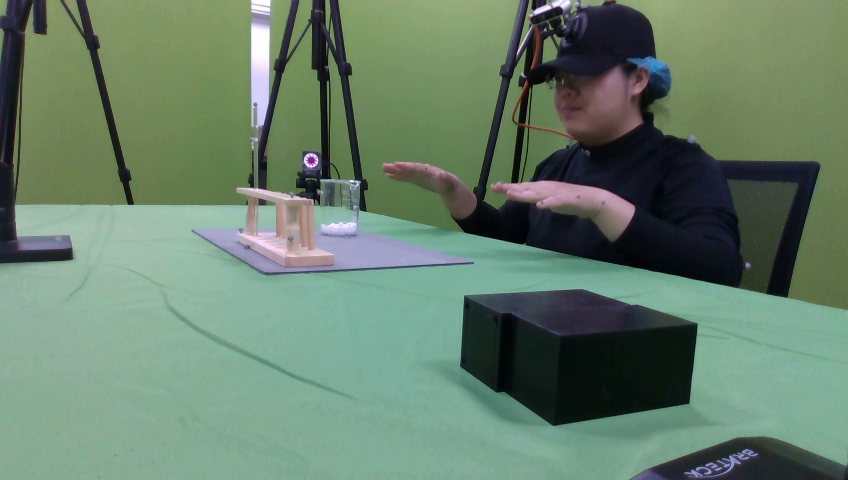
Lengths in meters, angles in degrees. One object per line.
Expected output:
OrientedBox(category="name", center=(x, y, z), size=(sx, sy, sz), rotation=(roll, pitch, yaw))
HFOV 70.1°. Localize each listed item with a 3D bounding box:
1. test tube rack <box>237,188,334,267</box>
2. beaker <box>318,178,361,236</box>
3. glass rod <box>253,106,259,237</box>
OrientedBox(category="test tube rack", center=(-0.202, -0.024, 0.855), size=(0.067, 0.085, 0.241), rotation=(-2, 8, -30))
OrientedBox(category="beaker", center=(-0.150, -0.059, 1.087), size=(0.083, 0.100, 0.074), rotation=(10, 11, 40))
OrientedBox(category="glass rod", center=(-0.253, -0.101, 0.912), size=(0.008, 0.199, 0.008), rotation=(1, 3, 0))
